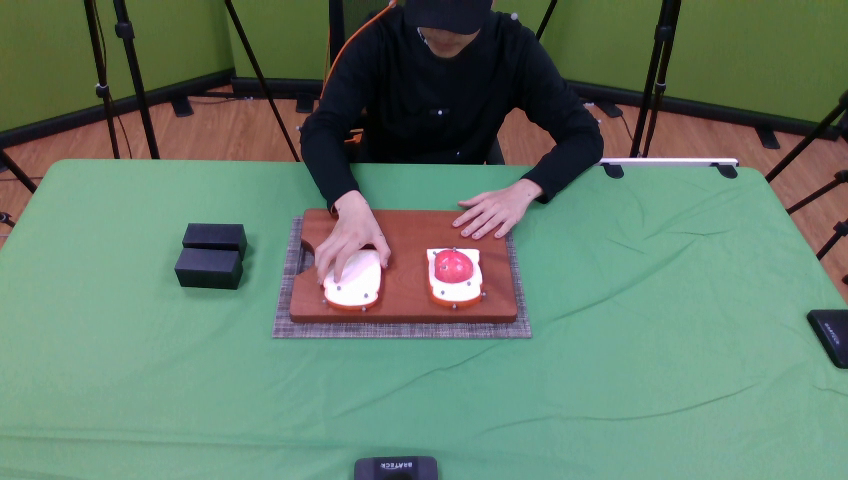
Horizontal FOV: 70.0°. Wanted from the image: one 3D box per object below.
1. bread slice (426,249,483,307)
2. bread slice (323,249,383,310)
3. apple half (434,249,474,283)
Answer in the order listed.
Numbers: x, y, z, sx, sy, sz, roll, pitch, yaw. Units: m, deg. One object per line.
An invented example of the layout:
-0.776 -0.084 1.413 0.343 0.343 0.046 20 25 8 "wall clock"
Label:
0.058 0.066 1.100 0.105 0.019 0.130 -1 45 -3 "bread slice"
-0.126 0.068 1.083 0.107 0.018 0.133 -1 47 -5 "bread slice"
0.054 0.039 1.092 0.081 0.033 0.081 1 46 -1 "apple half"
